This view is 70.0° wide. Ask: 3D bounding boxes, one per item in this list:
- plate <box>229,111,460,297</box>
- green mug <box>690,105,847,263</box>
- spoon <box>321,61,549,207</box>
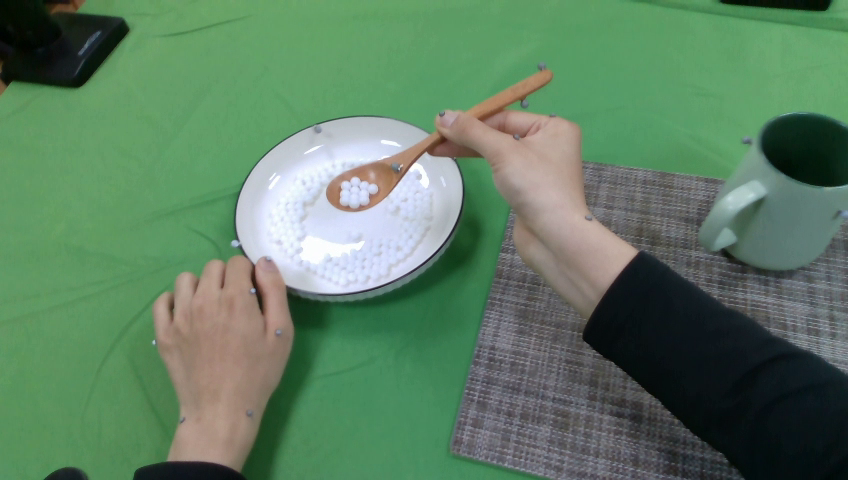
[{"bbox_3d":[-0.070,-0.034,0.557,0.209,0.038,0.207,-2,55,4],"label":"plate"},{"bbox_3d":[0.266,-0.035,0.478,0.125,0.106,0.091,-26,57,-12],"label":"green mug"},{"bbox_3d":[0.010,-0.081,0.451,0.194,0.022,0.041,-32,59,3],"label":"spoon"}]
